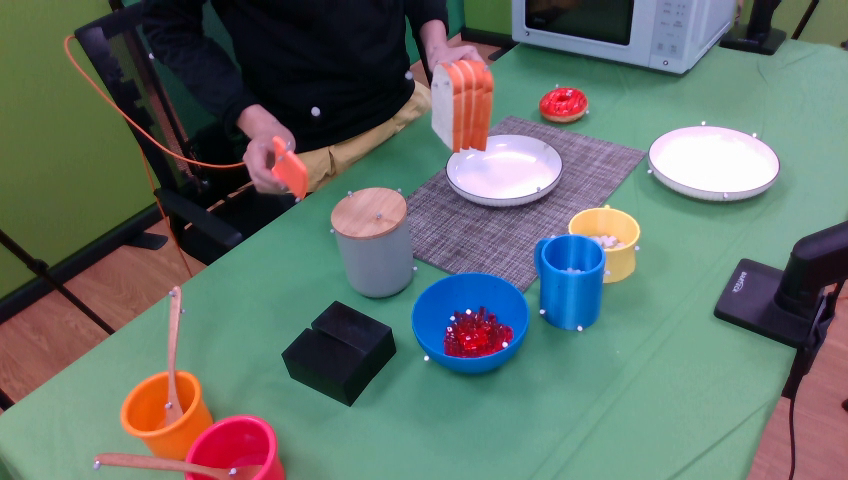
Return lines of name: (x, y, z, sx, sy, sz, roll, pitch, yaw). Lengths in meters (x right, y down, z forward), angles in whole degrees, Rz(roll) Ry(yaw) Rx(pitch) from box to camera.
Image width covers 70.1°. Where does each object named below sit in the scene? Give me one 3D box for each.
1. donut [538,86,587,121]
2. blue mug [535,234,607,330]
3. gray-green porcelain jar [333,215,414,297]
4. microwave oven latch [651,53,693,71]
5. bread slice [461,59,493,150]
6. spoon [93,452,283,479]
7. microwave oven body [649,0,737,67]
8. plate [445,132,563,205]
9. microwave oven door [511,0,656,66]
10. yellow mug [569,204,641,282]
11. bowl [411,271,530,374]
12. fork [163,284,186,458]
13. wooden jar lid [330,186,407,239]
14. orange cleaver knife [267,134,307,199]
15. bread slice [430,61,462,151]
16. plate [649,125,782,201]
donut: (0.283, -0.280, 1.239, 0.099, 0.048, 0.098, -5, 42, 5)
blue mug: (0.191, 0.048, 0.824, 0.082, 0.106, 0.115, -26, 44, -20)
gray-green porcelain jar: (-0.071, 0.012, 0.887, 0.106, 0.127, 0.105, -4, 41, 4)
microwave oven latch: (0.532, -0.386, 1.301, 0.078, 0.029, 0.030, 27, 52, 34)
bread slice: (0.083, -0.230, 1.009, 0.018, 0.134, 0.106, -8, 42, -19)
spoon: (-0.240, 0.239, 0.632, 0.195, 0.021, 0.041, 26, 33, -32)
microwave oven body: (0.475, -0.602, 1.411, 0.438, 0.261, 0.327, 23, 50, 32)
plate: (0.142, -0.123, 1.076, 0.209, 0.038, 0.208, -4, 41, 4)
microwave oven door: (0.350, -0.539, 1.349, 0.353, 0.245, 0.039, 24, 50, 31)
yellow mug: (0.268, -0.005, 0.904, 0.099, 0.064, 0.130, 7, 41, 15)
bowl: (0.061, 0.120, 0.780, 0.151, 0.077, 0.150, -4, 40, 4)
fork: (-0.302, 0.157, 0.733, 0.028, 0.019, 0.207, -4, 84, 16)
wooden jar lid: (-0.077, -0.035, 0.847, 0.108, 0.021, 0.108, -5, 41, 5)
orange cleaver knife: (-0.194, -0.092, 0.853, 0.012, 0.077, 0.210, -39, 5, -19)
bread slice: (0.035, -0.226, 0.993, 0.019, 0.132, 0.104, -12, 37, -17)
plate: (0.493, -0.127, 1.036, 0.207, 0.039, 0.206, -4, 41, 4)
